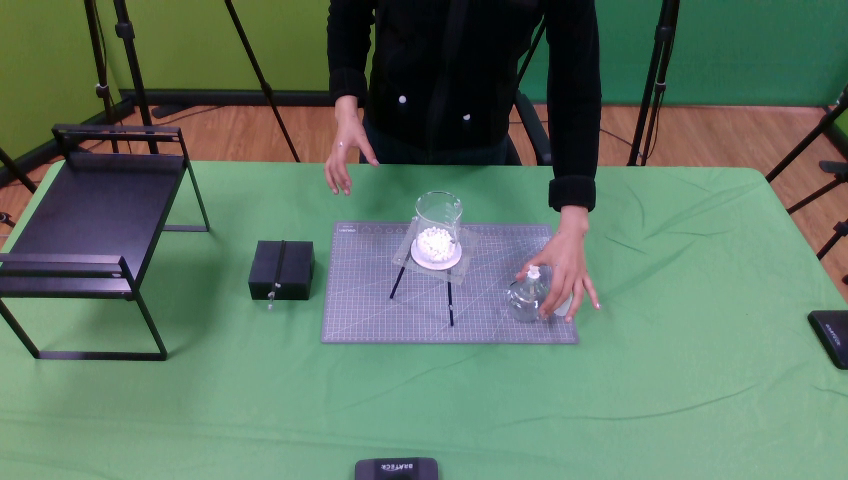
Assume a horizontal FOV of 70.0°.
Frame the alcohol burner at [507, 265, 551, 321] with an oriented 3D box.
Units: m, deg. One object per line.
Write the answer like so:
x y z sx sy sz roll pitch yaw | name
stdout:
0.185 0.086 1.056 0.078 0.120 0.077 0 47 0 | alcohol burner

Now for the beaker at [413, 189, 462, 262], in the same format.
0.022 -0.018 0.973 0.074 0.101 0.083 -19 50 -19 | beaker

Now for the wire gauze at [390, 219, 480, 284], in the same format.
0.020 0.013 1.010 0.125 0.011 0.121 14 46 14 | wire gauze

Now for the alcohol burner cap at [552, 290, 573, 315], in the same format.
0.250 0.109 1.088 0.034 0.048 0.033 4 48 -4 | alcohol burner cap

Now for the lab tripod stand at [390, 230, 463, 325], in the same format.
0.014 0.060 1.056 0.148 0.132 0.147 1 48 -1 | lab tripod stand

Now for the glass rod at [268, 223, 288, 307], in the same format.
-0.259 0.041 1.080 0.008 0.008 0.198 2 46 -2 | glass rod
